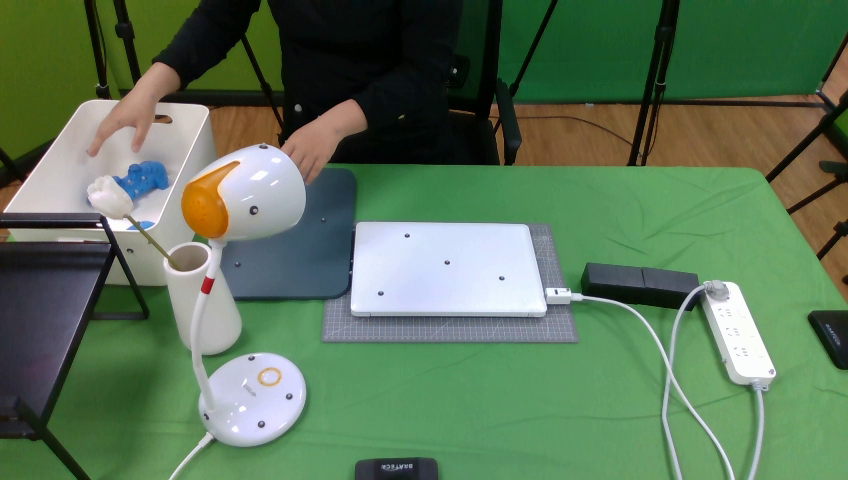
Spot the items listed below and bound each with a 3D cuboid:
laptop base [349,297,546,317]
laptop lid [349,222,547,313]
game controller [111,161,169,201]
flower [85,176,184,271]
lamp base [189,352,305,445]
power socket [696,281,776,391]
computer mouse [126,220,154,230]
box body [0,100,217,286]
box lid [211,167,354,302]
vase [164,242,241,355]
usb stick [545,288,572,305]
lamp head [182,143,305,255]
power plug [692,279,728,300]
[{"bbox_3d":[0.041,0.055,1.149,0.355,0.023,0.234,1,42,-4],"label":"laptop base"},{"bbox_3d":[0.041,0.046,1.143,0.357,0.013,0.240,2,44,-3],"label":"laptop lid"},{"bbox_3d":[-0.597,-0.114,1.234,0.097,0.052,0.155,31,52,19],"label":"game controller"},{"bbox_3d":[-0.365,0.038,0.894,0.038,0.364,0.044,-5,53,14],"label":"flower"},{"bbox_3d":[-0.268,0.196,0.876,0.160,0.181,0.179,26,52,20],"label":"lamp base"},{"bbox_3d":[0.550,0.160,1.078,0.072,0.033,0.225,2,46,-1],"label":"power socket"},{"bbox_3d":[-0.537,0.008,1.127,0.062,0.041,0.117,32,56,20],"label":"computer mouse"},{"bbox_3d":[-0.559,-0.092,1.145,0.254,0.161,0.361,3,46,-2],"label":"box body"},{"bbox_3d":[-0.276,-0.024,1.205,0.263,0.015,0.369,0,46,-4],"label":"box lid"},{"bbox_3d":[-0.349,0.096,0.954,0.098,0.201,0.097,3,47,-3],"label":"vase"},{"bbox_3d":[0.236,0.102,1.101,0.059,0.027,0.021,-2,47,2],"label":"usb stick"},{"bbox_3d":[-0.216,-0.044,0.697,0.112,0.113,0.123,23,31,17],"label":"lamp head"},{"bbox_3d":[0.522,0.091,1.116,0.072,0.053,0.035,10,47,8],"label":"power plug"}]
